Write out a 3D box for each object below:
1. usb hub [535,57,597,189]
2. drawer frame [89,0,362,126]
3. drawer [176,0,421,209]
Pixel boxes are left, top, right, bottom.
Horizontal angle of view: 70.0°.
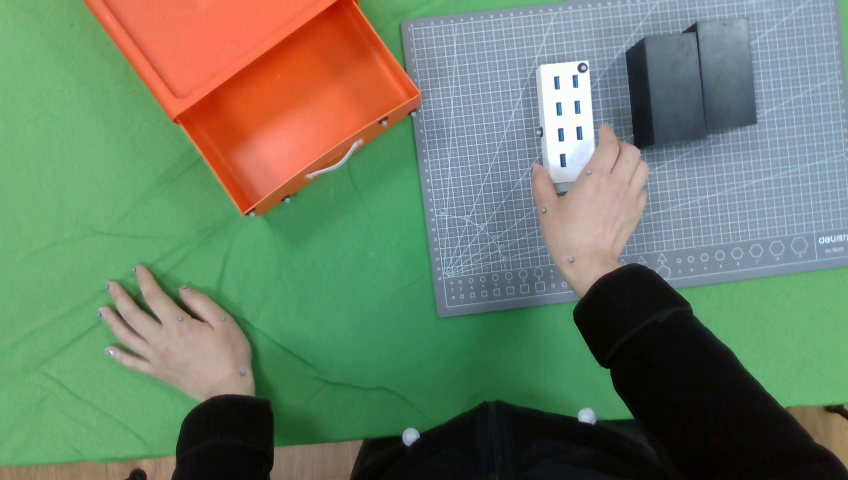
[{"bbox_3d":[0.142,-0.116,0.602,0.049,0.025,0.125,-6,93,-3],"label":"usb hub"},{"bbox_3d":[-0.199,-0.249,0.552,0.201,0.082,0.214,-37,93,0],"label":"drawer frame"},{"bbox_3d":[-0.140,-0.165,0.563,0.194,0.073,0.212,-34,93,0],"label":"drawer"}]
